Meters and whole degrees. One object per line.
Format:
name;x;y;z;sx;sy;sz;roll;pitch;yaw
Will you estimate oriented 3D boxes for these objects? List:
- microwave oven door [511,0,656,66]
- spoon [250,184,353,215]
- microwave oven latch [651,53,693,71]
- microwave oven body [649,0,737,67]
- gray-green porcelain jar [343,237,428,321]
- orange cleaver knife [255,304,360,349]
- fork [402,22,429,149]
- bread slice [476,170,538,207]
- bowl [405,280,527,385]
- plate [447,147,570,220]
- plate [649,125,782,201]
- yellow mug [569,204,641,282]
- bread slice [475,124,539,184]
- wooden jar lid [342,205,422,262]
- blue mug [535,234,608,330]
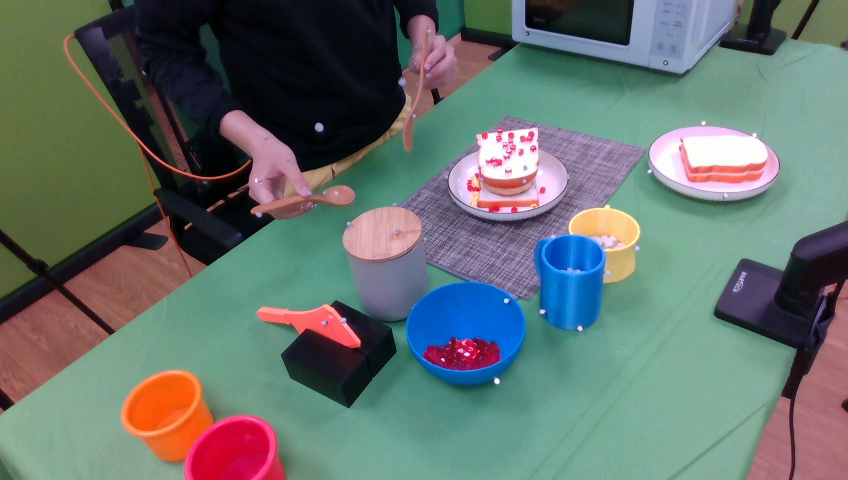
microwave oven door;0.351;-0.539;1.349;0.353;0.245;0.039;24;50;31
spoon;-0.165;-0.057;0.832;0.041;0.021;0.195;41;26;18
microwave oven latch;0.532;-0.386;1.301;0.078;0.029;0.030;27;52;34
microwave oven body;0.475;-0.602;1.411;0.438;0.261;0.327;23;50;32
gray-green porcelain jar;-0.049;0.042;0.849;0.106;0.127;0.105;-5;41;4
orange cleaver knife;-0.161;0.115;0.813;0.210;0.077;0.012;-4;32;47
fork;-0.012;-0.249;0.994;0.018;0.207;0.028;26;29;24
bread slice;0.144;-0.103;1.059;0.105;0.019;0.131;0;44;5
bowl;0.055;0.131;0.767;0.151;0.077;0.150;-4;40;4
plate;0.145;-0.098;1.046;0.209;0.038;0.208;-4;40;4
plate;0.493;-0.128;1.036;0.207;0.039;0.206;-4;41;4
yellow mug;0.268;-0.005;0.904;0.099;0.064;0.130;7;41;15
bread slice;0.143;-0.144;1.009;0.107;0.018;0.133;-7;46;7
wooden jar lid;-0.055;-0.006;0.808;0.108;0.021;0.108;-6;41;6
blue mug;0.191;0.048;0.824;0.082;0.106;0.115;-26;44;-21
